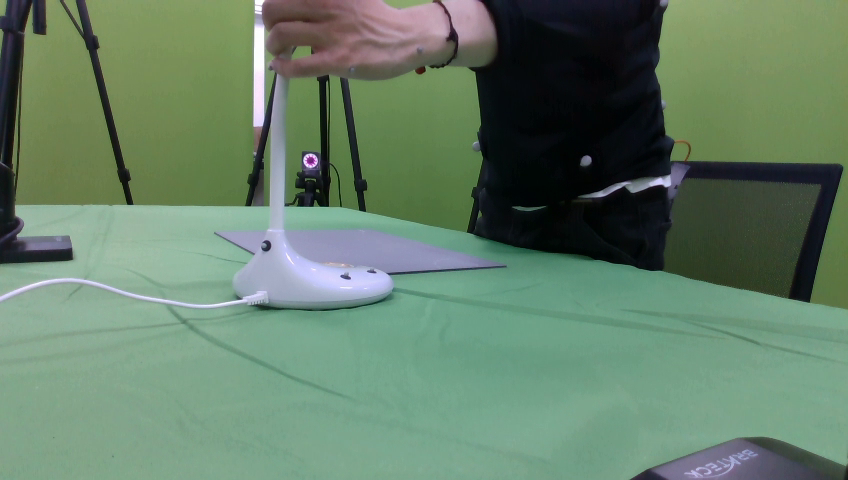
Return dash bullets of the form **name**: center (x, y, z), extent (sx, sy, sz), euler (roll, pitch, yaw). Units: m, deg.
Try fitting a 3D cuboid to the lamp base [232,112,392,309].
- **lamp base**: center (-0.113, -0.031, 0.594), extent (0.160, 0.180, 0.179), euler (4, 10, 18)
